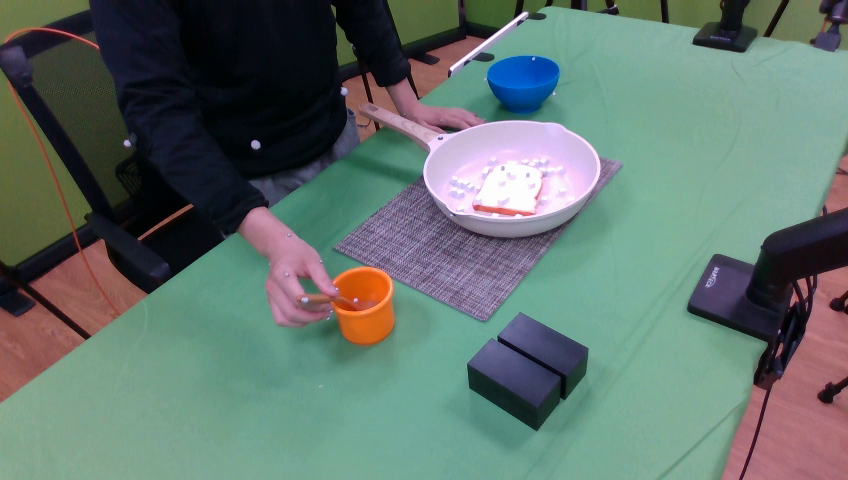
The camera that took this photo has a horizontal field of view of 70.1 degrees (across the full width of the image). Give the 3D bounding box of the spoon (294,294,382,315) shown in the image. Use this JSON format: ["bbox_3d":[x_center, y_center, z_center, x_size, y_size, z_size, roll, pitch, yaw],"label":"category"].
[{"bbox_3d":[-0.110,0.080,0.784,0.041,0.195,0.021,18,86,26],"label":"spoon"}]

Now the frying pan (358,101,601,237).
[{"bbox_3d":[0.067,-0.153,1.067,0.484,0.103,0.308,32,52,26],"label":"frying pan"}]

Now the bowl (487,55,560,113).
[{"bbox_3d":[0.208,-0.319,1.266,0.151,0.077,0.150,-4,41,4],"label":"bowl"}]

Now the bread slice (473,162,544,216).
[{"bbox_3d":[0.150,-0.088,1.042,0.106,0.018,0.134,7,45,16],"label":"bread slice"}]
